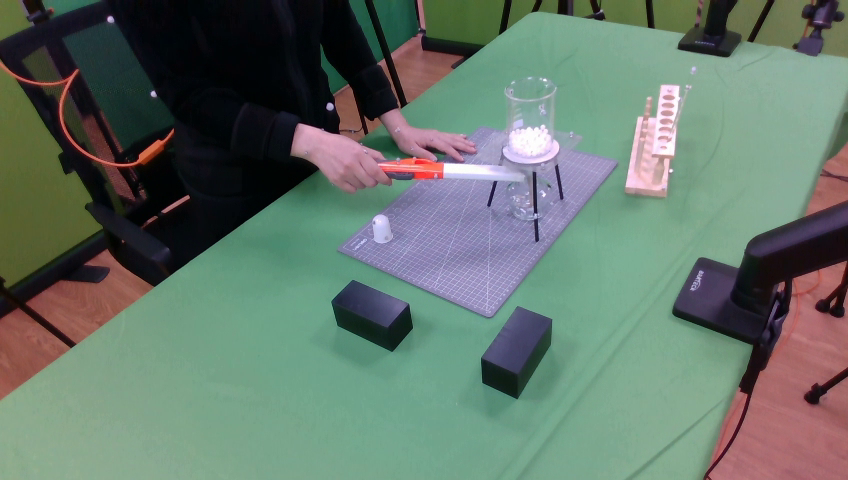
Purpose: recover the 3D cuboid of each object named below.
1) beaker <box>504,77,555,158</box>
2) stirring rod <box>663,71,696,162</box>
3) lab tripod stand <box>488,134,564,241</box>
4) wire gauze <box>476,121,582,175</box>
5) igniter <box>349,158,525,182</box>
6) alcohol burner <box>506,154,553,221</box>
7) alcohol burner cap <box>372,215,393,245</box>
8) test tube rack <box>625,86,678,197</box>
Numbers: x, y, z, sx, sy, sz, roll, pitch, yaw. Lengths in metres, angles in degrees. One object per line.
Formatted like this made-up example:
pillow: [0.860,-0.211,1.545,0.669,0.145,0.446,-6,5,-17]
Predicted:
beaker: [0.160,-0.181,0.900,0.084,0.101,0.073,-33,46,-27]
stirring rod: [0.410,-0.195,0.981,0.014,0.177,0.006,11,50,14]
lab tripod stand: [0.168,-0.092,0.972,0.148,0.132,0.147,-5,41,5]
wire gauze: [0.162,-0.142,0.929,0.120,0.011,0.125,19,49,32]
igniter: [0.019,-0.110,0.950,0.277,0.025,0.057,2,36,1]
alcohol burner: [0.171,-0.091,0.985,0.078,0.119,0.077,-5,42,5]
alcohol burner cap: [-0.070,-0.019,0.990,0.034,0.048,0.033,-4,41,4]
test tube rack: [0.412,-0.184,1.088,0.066,0.085,0.242,9,43,18]
